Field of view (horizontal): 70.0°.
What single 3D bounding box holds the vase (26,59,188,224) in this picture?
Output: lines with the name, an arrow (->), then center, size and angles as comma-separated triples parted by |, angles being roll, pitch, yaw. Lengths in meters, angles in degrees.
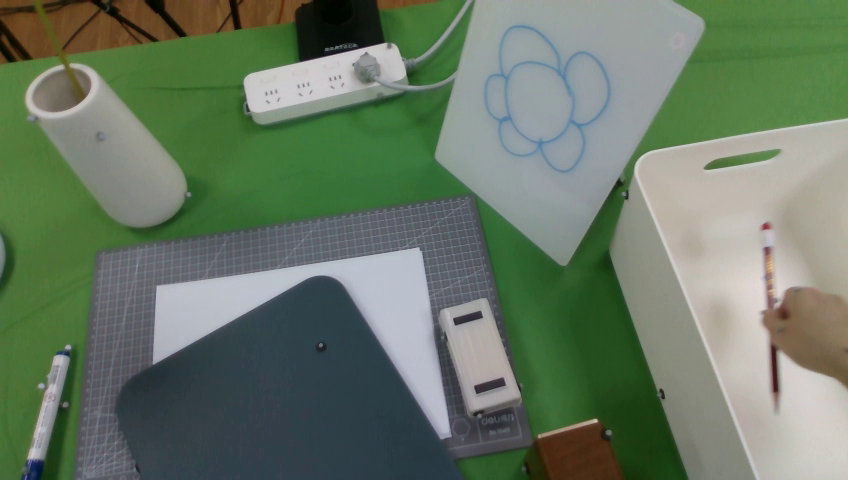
vase -> -0.337, -0.100, 0.657 | 0.098, 0.201, 0.097 | -1, 62, 3

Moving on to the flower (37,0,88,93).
flower -> -0.336, -0.155, 0.593 | 0.038, 0.365, 0.043 | -20, 45, -16

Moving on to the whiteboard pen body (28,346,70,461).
whiteboard pen body -> -0.381, 0.174, 0.613 | 0.017, 0.017, 0.139 | -5, 58, 0

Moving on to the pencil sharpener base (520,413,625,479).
pencil sharpener base -> 0.129, 0.206, 0.532 | 0.061, 0.108, 0.076 | -14, 63, -5

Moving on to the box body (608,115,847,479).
box body -> 0.344, 0.089, 0.554 | 0.254, 0.161, 0.360 | -10, 62, -3

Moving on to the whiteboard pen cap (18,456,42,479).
whiteboard pen cap -> -0.379, 0.224, 0.582 | 0.018, 0.018, 0.033 | -5, 56, 0

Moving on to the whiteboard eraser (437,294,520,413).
whiteboard eraser -> 0.054, 0.114, 0.616 | 0.056, 0.042, 0.111 | -14, 63, -7

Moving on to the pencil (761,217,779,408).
pencil -> 0.318, 0.060, 0.555 | 0.012, 0.012, 0.192 | 11, 61, 8

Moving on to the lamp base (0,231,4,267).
lamp base -> -0.580, -0.010, 0.628 | 0.178, 0.182, 0.160 | 20, 64, 16

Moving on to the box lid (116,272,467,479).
box lid -> -0.119, 0.223, 0.585 | 0.263, 0.015, 0.368 | -30, 66, -13

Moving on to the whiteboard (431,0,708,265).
whiteboard -> 0.161, -0.164, 0.647 | 0.144, 0.307, 0.215 | -30, 63, -34

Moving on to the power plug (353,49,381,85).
power plug -> -0.072, -0.211, 0.773 | 0.035, 0.053, 0.072 | -5, 64, 0

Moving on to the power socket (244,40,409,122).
power socket -> -0.128, -0.211, 0.802 | 0.227, 0.033, 0.071 | -14, 63, -6
